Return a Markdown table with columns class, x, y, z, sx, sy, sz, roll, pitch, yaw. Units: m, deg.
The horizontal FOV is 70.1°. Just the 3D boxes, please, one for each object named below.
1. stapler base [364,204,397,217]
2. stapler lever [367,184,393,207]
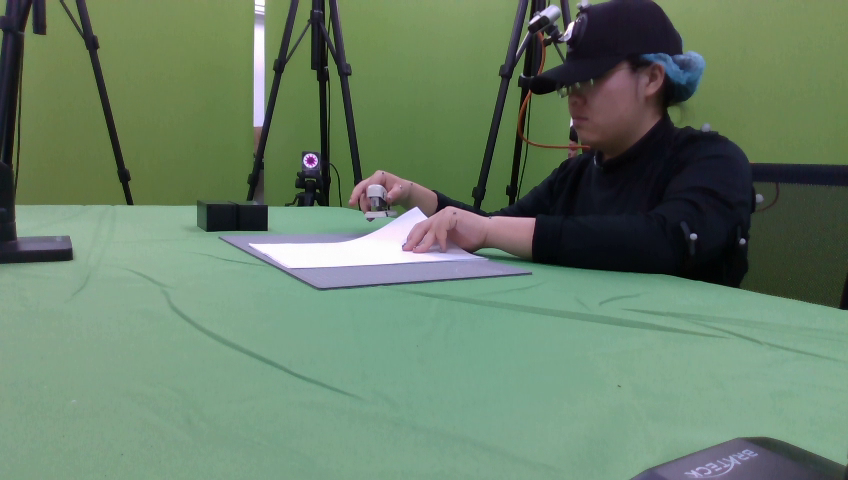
| class | x | y | z | sx | sy | sz | roll | pitch | yaw |
| --- | --- | --- | --- | --- | --- | --- | --- | --- | --- |
| stapler base | -0.079 | -0.055 | 1.115 | 0.041 | 0.024 | 0.130 | 1 | 3 | 7 |
| stapler lever | -0.080 | -0.080 | 1.115 | 0.027 | 0.040 | 0.118 | 1 | 3 | 7 |
